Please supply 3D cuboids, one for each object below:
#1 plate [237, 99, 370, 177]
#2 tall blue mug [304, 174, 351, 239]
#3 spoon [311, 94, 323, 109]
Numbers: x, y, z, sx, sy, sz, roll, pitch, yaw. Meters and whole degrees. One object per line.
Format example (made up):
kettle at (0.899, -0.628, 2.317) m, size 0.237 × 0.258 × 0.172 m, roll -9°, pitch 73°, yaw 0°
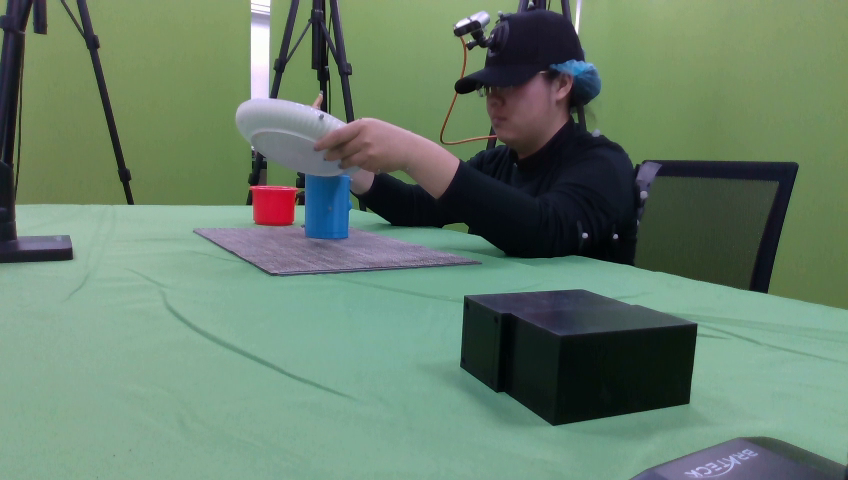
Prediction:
plate at (-0.189, -0.146, 0.937) m, size 0.207 × 0.039 × 0.208 m, roll 12°, pitch -16°, yaw 4°
tall blue mug at (-0.179, -0.062, 1.062) m, size 0.078 × 0.108 × 0.106 m, roll -4°, pitch 10°, yaw -38°
spoon at (-0.214, -0.213, 1.071) m, size 0.021 × 0.041 × 0.194 m, roll 10°, pitch 39°, yaw 14°
